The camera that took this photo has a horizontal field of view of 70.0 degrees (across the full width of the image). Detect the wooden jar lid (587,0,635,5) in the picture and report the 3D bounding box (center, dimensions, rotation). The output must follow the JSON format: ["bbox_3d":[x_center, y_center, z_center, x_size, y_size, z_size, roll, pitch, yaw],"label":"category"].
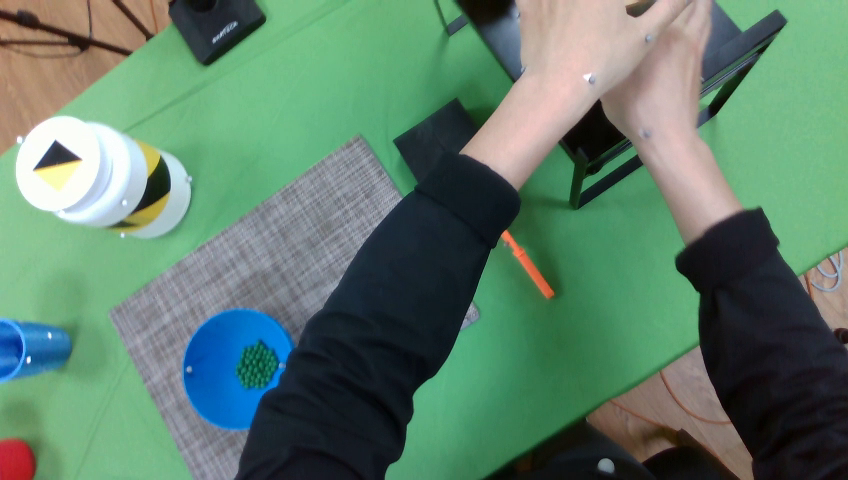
[{"bbox_3d":[0.155,-0.240,0.491,0.108,0.021,0.108,-1,84,11],"label":"wooden jar lid"}]

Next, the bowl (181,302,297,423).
[{"bbox_3d":[-0.226,0.156,0.788,0.151,0.077,0.151,-1,83,11],"label":"bowl"}]

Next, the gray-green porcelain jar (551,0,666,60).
[{"bbox_3d":[0.169,-0.232,0.553,0.105,0.127,0.105,-1,83,11],"label":"gray-green porcelain jar"}]

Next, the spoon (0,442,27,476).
[{"bbox_3d":[-0.649,0.329,0.820,0.194,0.021,0.041,-18,78,-36],"label":"spoon"}]

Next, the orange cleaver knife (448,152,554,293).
[{"bbox_3d":[0.095,-0.021,0.750,0.012,0.076,0.213,-37,108,1],"label":"orange cleaver knife"}]

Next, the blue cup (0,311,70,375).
[{"bbox_3d":[-0.556,0.141,0.844,0.092,0.100,0.092,-1,84,9],"label":"blue cup"}]

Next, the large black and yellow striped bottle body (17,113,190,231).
[{"bbox_3d":[-0.416,-0.089,0.802,0.130,0.185,0.130,-1,82,11],"label":"large black and yellow striped bottle body"}]

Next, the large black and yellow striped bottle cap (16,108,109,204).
[{"bbox_3d":[-0.431,-0.100,0.720,0.115,0.019,0.114,-1,85,11],"label":"large black and yellow striped bottle cap"}]
